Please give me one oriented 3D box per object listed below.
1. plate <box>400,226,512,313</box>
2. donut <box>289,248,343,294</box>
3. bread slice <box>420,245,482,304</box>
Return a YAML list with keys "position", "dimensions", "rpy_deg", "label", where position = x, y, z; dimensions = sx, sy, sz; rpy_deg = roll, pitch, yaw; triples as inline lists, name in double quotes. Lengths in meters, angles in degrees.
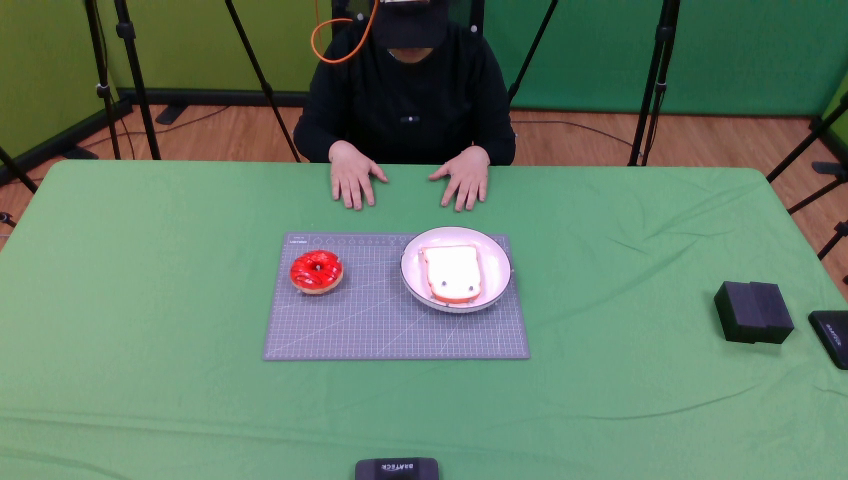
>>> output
- position: [0.057, 0.057, 1.134]
  dimensions: [0.209, 0.038, 0.208]
  rpy_deg: [2, 46, -2]
  label: "plate"
- position: [-0.197, 0.056, 1.111]
  dimensions: [0.099, 0.048, 0.098]
  rpy_deg: [1, 45, -1]
  label: "donut"
- position: [0.056, 0.062, 1.131]
  dimensions: [0.107, 0.018, 0.133]
  rpy_deg: [-5, 46, -8]
  label: "bread slice"
